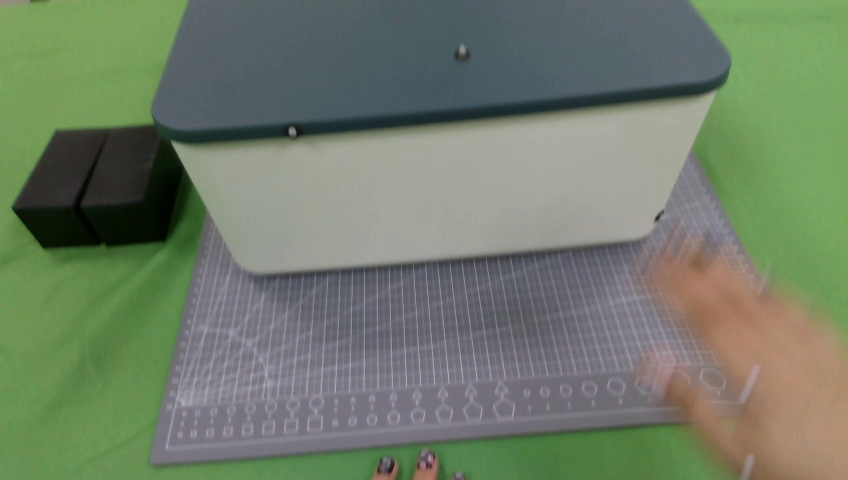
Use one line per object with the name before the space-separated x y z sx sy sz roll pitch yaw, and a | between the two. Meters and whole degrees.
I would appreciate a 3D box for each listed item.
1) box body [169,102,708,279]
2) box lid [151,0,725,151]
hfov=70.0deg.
box body | 0.007 -0.116 0.512 0.364 0.162 0.251 -5 49 -2
box lid | 0.001 -0.166 0.455 0.372 0.015 0.260 -5 48 -2
